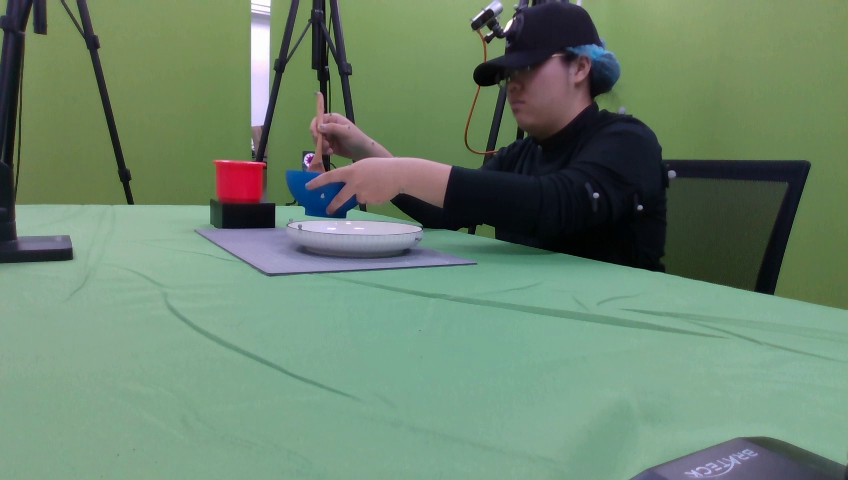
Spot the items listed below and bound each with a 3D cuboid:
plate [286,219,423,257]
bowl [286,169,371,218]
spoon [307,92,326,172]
[{"bbox_3d":[-0.105,-0.004,0.923,0.208,0.039,0.207,3,8,0],"label":"plate"},{"bbox_3d":[-0.172,-0.081,1.073,0.151,0.077,0.151,5,4,0],"label":"bowl"},{"bbox_3d":[-0.193,-0.184,1.116,0.042,0.193,0.021,7,-10,-27],"label":"spoon"}]
